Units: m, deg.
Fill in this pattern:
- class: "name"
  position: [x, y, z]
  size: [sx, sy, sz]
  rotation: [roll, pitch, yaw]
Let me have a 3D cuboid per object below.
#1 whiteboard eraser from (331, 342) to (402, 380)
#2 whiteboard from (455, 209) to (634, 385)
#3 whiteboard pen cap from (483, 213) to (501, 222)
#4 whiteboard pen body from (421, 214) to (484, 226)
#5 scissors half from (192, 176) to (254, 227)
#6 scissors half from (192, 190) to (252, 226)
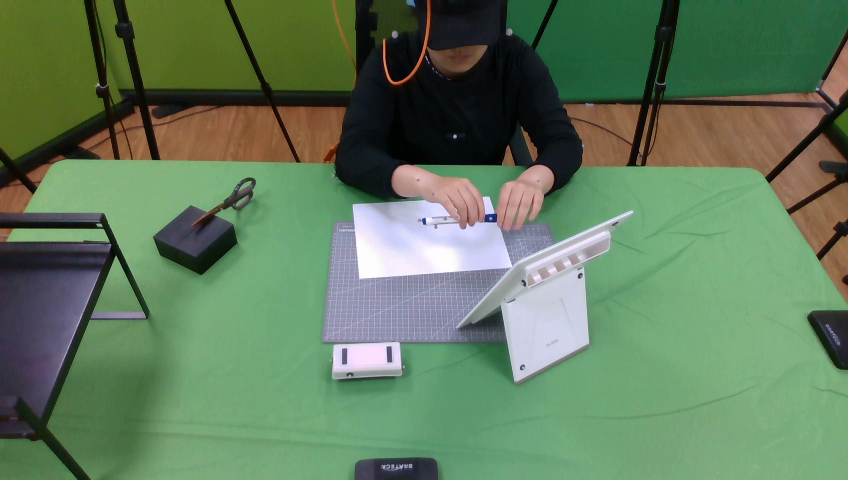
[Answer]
- class: "whiteboard eraser"
  position: [-0.094, 0.198, 0.986]
  size: [0.113, 0.042, 0.055]
  rotation: [-2, 44, -6]
- class: "whiteboard"
  position: [0.211, 0.111, 0.955]
  size: [0.217, 0.306, 0.143]
  rotation: [-21, 71, -23]
- class: "whiteboard pen cap"
  position: [0.124, -0.041, 1.111]
  size: [0.033, 0.018, 0.018]
  rotation: [2, 46, 1]
- class: "whiteboard pen body"
  position: [0.065, -0.038, 1.108]
  size: [0.141, 0.017, 0.017]
  rotation: [-4, 47, -5]
- class: "scissors half"
  position: [-0.388, -0.075, 1.174]
  size: [0.013, 0.040, 0.174]
  rotation: [29, 47, 8]
- class: "scissors half"
  position: [-0.393, -0.060, 1.187]
  size: [0.013, 0.040, 0.175]
  rotation: [25, 29, 11]
